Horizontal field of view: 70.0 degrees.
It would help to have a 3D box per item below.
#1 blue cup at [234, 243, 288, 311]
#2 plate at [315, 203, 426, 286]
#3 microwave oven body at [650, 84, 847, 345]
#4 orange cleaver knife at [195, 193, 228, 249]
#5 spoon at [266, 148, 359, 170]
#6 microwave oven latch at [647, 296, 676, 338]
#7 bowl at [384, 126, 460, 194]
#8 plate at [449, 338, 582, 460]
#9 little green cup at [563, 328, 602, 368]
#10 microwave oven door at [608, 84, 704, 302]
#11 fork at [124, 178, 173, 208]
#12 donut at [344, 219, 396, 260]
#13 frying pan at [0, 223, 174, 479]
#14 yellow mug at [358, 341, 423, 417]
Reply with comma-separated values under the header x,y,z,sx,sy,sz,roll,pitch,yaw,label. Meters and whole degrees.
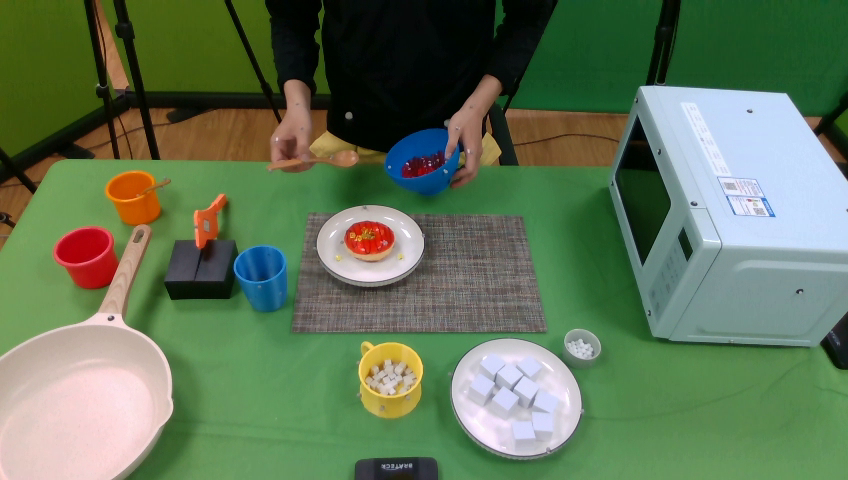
x,y,z,sx,sy,sz,roll,pitch,yaw,label
-0.276,0.072,1.052,0.093,0.101,0.092,1,48,-1,blue cup
-0.101,0.012,1.160,0.209,0.038,0.208,2,46,-2,plate
0.569,-0.054,1.116,0.326,0.261,0.439,2,46,-1,microwave oven body
-0.406,-0.041,1.163,0.012,0.077,0.210,0,18,-3,orange cleaver knife
-0.200,-0.147,1.103,0.194,0.022,0.041,-12,60,-43,spoon
0.413,0.133,1.060,0.030,0.029,0.078,4,46,1,microwave oven latch
0.006,-0.143,1.171,0.151,0.077,0.150,-13,43,13,bowl
0.141,0.251,0.955,0.208,0.039,0.206,2,46,-2,plate
0.265,0.184,1.025,0.061,0.039,0.061,1,46,-1,little green cup
0.424,-0.096,1.138,0.039,0.245,0.353,2,46,-1,microwave oven door
-0.525,-0.089,1.153,0.207,0.019,0.028,-18,27,45,fork
-0.103,-0.002,1.157,0.099,0.048,0.098,3,43,-2,donut
-0.505,0.169,0.941,0.307,0.103,0.485,5,54,-1,frying pan
-0.062,0.210,0.961,0.100,0.064,0.130,-29,54,-27,yellow mug
